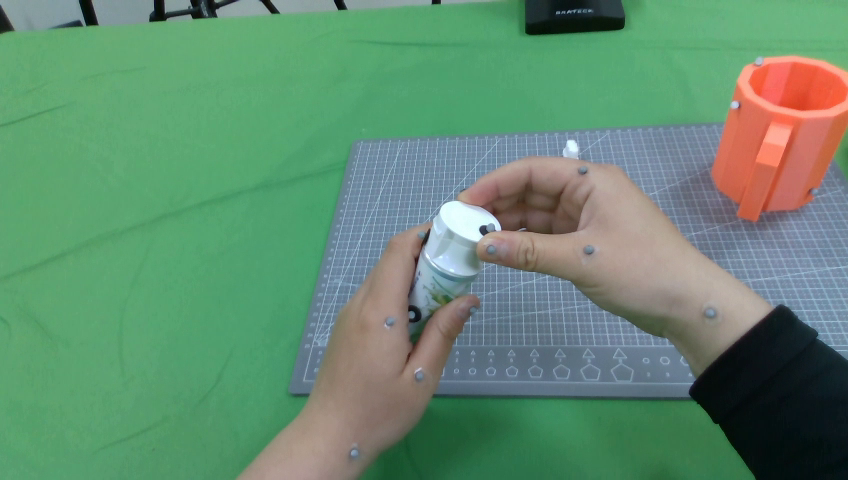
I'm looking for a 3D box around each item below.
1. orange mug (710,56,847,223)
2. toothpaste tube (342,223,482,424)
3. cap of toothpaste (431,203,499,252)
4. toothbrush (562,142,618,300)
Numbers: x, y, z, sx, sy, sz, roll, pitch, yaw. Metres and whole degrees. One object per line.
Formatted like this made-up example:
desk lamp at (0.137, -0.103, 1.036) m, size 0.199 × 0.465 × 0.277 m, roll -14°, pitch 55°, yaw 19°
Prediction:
orange mug at (0.283, -0.075, 0.487) m, size 0.083 × 0.102 × 0.126 m, roll 21°, pitch 49°, yaw 26°
toothpaste tube at (-0.006, 0.055, 0.362) m, size 0.055 × 0.166 × 0.034 m, roll -2°, pitch 41°, yaw -32°
cap of toothpaste at (0.022, -0.006, 0.319) m, size 0.037 × 0.011 × 0.037 m, roll 16°, pitch 34°, yaw -11°
toothbrush at (0.140, -0.024, 0.516) m, size 0.014 × 0.017 × 0.180 m, roll 3°, pitch 48°, yaw -6°
